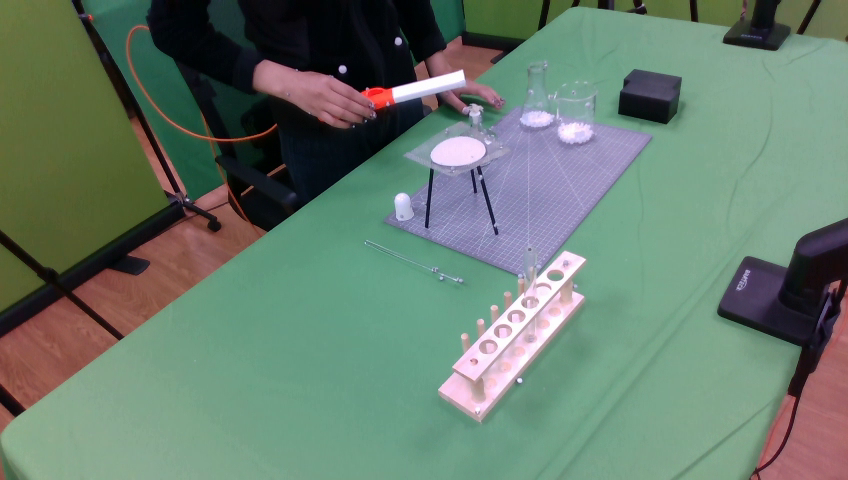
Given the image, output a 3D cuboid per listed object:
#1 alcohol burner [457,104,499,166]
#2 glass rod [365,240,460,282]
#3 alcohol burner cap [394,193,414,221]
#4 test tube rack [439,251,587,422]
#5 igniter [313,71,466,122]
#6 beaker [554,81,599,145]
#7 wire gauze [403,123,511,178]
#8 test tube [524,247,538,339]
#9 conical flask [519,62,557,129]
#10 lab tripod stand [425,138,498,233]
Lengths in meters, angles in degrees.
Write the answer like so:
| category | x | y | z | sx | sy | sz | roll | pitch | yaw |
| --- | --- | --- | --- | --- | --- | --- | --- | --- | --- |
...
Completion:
| category | x | y | z | sx | sy | sz | roll | pitch | yaw |
| --- | --- | --- | --- | --- | --- | --- | --- | --- | --- |
| alcohol burner | 0.099 | -0.198 | 1.124 | 0.078 | 0.119 | 0.077 | -5 | 39 | 4 |
| glass rod | -0.022 | 0.032 | 0.961 | 0.198 | 0.008 | 0.008 | 21 | 49 | 35 |
| alcohol burner cap | -0.036 | -0.059 | 1.040 | 0.034 | 0.048 | 0.033 | -5 | 41 | 5 |
| test tube rack | 0.118 | 0.111 | 0.780 | 0.066 | 0.085 | 0.243 | 26 | 51 | 35 |
| igniter | -0.063 | -0.251 | 1.061 | 0.276 | 0.025 | 0.057 | -12 | 51 | 8 |
| beaker | 0.286 | -0.237 | 1.144 | 0.084 | 0.101 | 0.073 | -17 | 40 | -7 |
| wire gauze | 0.051 | -0.140 | 0.943 | 0.125 | 0.011 | 0.120 | -30 | 43 | -24 |
| test tube | 0.133 | 0.070 | 0.749 | 0.017 | 0.151 | 0.017 | -5 | 38 | 4 |
| conical flask | 0.225 | -0.288 | 1.199 | 0.075 | 0.122 | 0.075 | -6 | 40 | 5 |
| lab tripod stand | 0.063 | -0.091 | 0.988 | 0.148 | 0.132 | 0.147 | -6 | 39 | 6 |
